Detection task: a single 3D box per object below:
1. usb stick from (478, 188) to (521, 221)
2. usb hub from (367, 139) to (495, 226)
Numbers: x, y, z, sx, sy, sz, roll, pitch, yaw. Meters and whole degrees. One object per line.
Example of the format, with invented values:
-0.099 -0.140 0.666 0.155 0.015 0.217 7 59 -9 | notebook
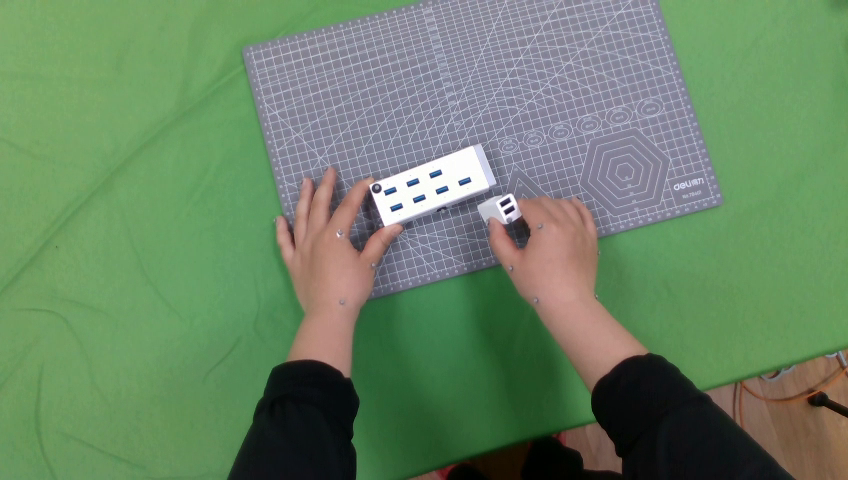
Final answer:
0.072 -0.035 0.604 0.021 0.059 0.027 -34 97 -14 | usb stick
0.007 -0.060 0.628 0.125 0.025 0.049 -21 84 -2 | usb hub
